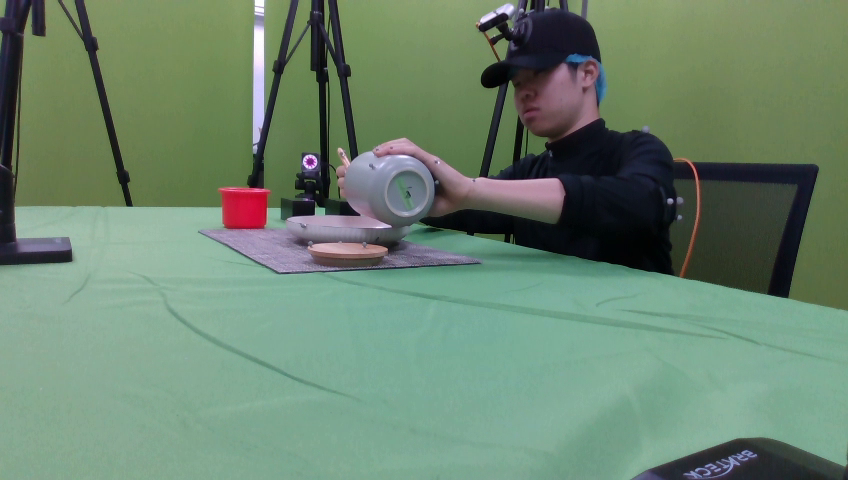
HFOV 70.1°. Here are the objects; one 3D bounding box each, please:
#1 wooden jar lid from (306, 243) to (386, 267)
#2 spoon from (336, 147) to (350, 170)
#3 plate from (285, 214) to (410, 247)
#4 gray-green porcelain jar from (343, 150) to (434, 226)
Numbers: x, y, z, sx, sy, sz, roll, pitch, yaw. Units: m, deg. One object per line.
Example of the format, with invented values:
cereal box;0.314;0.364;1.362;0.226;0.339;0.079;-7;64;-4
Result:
wooden jar lid;-0.105;0.020;0.816;0.108;0.020;0.108;1;7;0
spoon;-0.111;-0.104;0.985;0.042;0.021;0.193;6;29;-34
plate;-0.127;-0.015;1.012;0.208;0.039;0.207;3;7;0
gray-green porcelain jar;-0.052;-0.078;0.902;0.106;0.106;0.126;-1;11;-27
